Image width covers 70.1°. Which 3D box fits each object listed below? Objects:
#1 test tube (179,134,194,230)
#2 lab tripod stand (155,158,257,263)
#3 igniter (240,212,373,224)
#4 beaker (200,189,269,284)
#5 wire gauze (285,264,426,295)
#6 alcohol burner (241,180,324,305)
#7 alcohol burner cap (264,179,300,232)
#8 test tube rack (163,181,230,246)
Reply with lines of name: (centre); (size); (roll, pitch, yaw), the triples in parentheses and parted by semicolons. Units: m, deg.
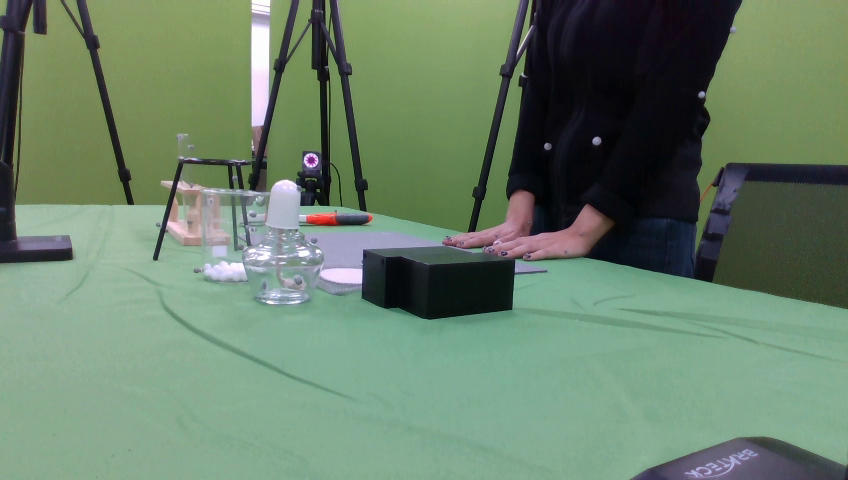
test tube: (-0.366, -0.089, 0.938); (0.017, 0.150, 0.017); (-1, 9, 1)
lab tripod stand: (-0.275, -0.041, 0.797); (0.148, 0.131, 0.148); (2, 9, 0)
igniter: (-0.237, -0.045, 1.250); (0.278, 0.025, 0.057); (-2, -2, -31)
beaker: (-0.209, -0.006, 0.676); (0.073, 0.100, 0.084); (7, 8, 28)
wire gauze: (-0.079, 0.039, 0.692); (0.122, 0.011, 0.124); (-4, 11, -37)
alcohol burner: (-0.136, 0.002, 0.583); (0.078, 0.119, 0.078); (1, 8, 0)
alcohol burner cap: (-0.134, -0.034, 0.579); (0.034, 0.048, 0.034); (9, 10, -1)
test tube rack: (-0.387, -0.050, 1.015); (0.067, 0.085, 0.241); (-2, 9, -30)
